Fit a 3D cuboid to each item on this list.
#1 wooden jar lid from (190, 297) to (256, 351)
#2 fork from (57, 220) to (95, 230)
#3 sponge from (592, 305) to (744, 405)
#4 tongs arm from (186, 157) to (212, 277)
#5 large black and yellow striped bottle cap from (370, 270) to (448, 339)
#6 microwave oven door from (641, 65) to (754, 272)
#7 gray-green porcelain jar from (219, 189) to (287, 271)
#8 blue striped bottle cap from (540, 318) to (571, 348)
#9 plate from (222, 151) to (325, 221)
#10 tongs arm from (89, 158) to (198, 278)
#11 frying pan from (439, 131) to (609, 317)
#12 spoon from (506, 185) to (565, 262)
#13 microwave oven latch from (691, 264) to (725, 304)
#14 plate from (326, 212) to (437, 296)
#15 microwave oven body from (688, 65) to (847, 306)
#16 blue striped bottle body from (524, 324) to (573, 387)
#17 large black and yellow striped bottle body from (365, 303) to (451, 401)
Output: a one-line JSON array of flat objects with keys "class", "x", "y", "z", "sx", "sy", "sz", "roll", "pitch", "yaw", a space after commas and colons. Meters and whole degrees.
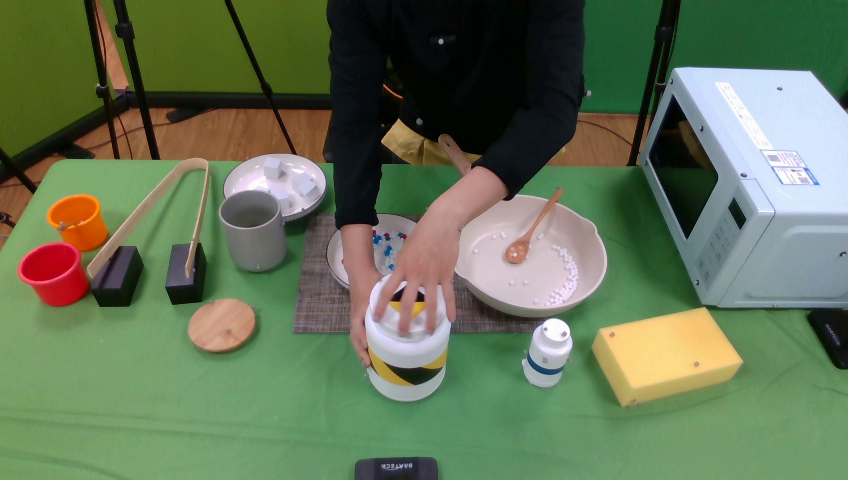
[{"class": "wooden jar lid", "x": -0.342, "y": 0.145, "z": 1.033, "sx": 0.108, "sy": 0.021, "sz": 0.107, "roll": 2, "pitch": 45, "yaw": -2}, {"class": "fork", "x": -0.624, "y": -0.027, "z": 1.086, "sx": 0.028, "sy": 0.207, "sz": 0.018, "roll": -3, "pitch": 92, "yaw": -17}, {"class": "sponge", "x": 0.405, "y": 0.190, "z": 1.015, "sx": 0.207, "sy": 0.061, "sz": 0.117, "roll": -10, "pitch": 48, "yaw": -13}, {"class": "tongs arm", "x": -0.445, "y": -0.058, "z": 1.168, "sx": 0.051, "sy": 0.026, "sz": 0.382, "roll": -5, "pitch": 37, "yaw": -6}, {"class": "large black and yellow striped bottle cap", "x": -0.022, "y": 0.091, "z": 0.877, "sx": 0.115, "sy": 0.019, "sz": 0.114, "roll": 1, "pitch": 47, "yaw": -1}, {"class": "microwave oven door", "x": 0.524, "y": -0.147, "z": 1.193, "sx": 0.039, "sy": 0.245, "sz": 0.353, "roll": 0, "pitch": 47, "yaw": -3}, {"class": "gray-green porcelain jar", "x": -0.309, "y": -0.014, "z": 1.113, "sx": 0.106, "sy": 0.127, "sz": 0.105, "roll": 2, "pitch": 47, "yaw": -2}, {"class": "blue striped bottle cap", "x": 0.203, "y": 0.142, "z": 0.933, "sx": 0.044, "sy": 0.021, "sz": 0.044, "roll": 3, "pitch": 49, "yaw": -4}, {"class": "plate", "x": -0.310, "y": -0.106, "z": 1.263, "sx": 0.208, "sy": 0.039, "sz": 0.206, "roll": 2, "pitch": 47, "yaw": -2}, {"class": "tongs arm", "x": -0.529, "y": -0.057, "z": 1.164, "sx": 0.028, "sy": 0.028, "sz": 0.385, "roll": 1, "pitch": 36, "yaw": 8}, {"class": "frying pan", "x": 0.149, "y": -0.049, "z": 1.189, "sx": 0.307, "sy": 0.103, "sz": 0.484, "roll": -17, "pitch": 58, "yaw": -20}, {"class": "spoon", "x": 0.224, "y": -0.034, "z": 1.188, "sx": 0.041, "sy": 0.022, "sz": 0.193, "roll": 31, "pitch": 79, "yaw": 28}, {"class": "microwave oven latch", "x": 0.521, "y": 0.081, "z": 1.116, "sx": 0.030, "sy": 0.029, "sz": 0.078, "roll": 0, "pitch": 46, "yaw": -3}, {"class": "plate", "x": -0.080, "y": 0.030, "z": 1.143, "sx": 0.209, "sy": 0.038, "sz": 0.208, "roll": 2, "pitch": 46, "yaw": -2}, {"class": "microwave oven body", "x": 0.669, "y": -0.111, "z": 1.176, "sx": 0.326, "sy": 0.261, "sz": 0.439, "roll": 0, "pitch": 46, "yaw": -3}, {"class": "blue striped bottle body", "x": 0.200, "y": 0.178, "z": 0.970, "sx": 0.063, "sy": 0.121, "sz": 0.062, "roll": 2, "pitch": 46, "yaw": -2}, {"class": "large black and yellow striped bottle body", "x": -0.026, "y": 0.150, "z": 0.938, "sx": 0.131, "sy": 0.185, "sz": 0.130, "roll": 2, "pitch": 46, "yaw": -2}]
